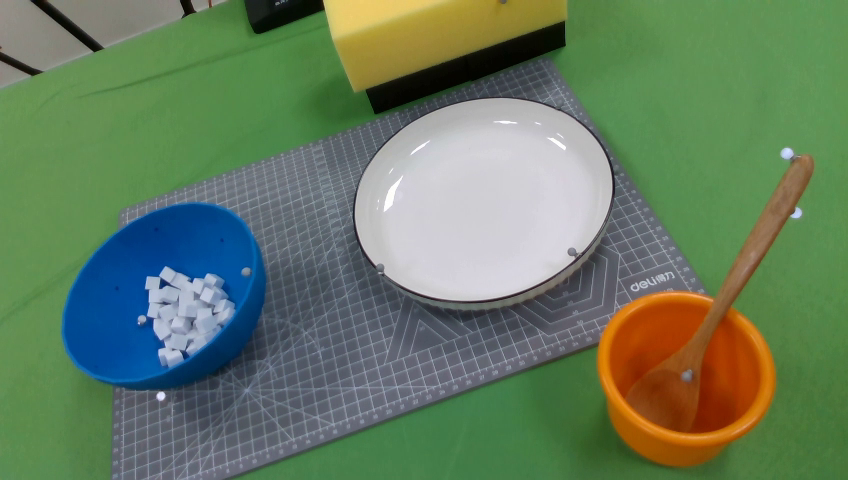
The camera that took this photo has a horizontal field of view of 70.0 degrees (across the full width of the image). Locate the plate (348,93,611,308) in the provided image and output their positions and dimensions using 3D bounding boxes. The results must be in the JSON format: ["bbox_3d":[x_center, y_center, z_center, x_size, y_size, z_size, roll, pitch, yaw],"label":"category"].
[{"bbox_3d":[0.042,-0.034,0.491,0.209,0.038,0.207,-6,56,10],"label":"plate"}]

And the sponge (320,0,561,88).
[{"bbox_3d":[0.010,-0.230,0.561,0.207,0.061,0.117,-19,54,1],"label":"sponge"}]

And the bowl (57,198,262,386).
[{"bbox_3d":[-0.185,0.050,0.465,0.151,0.077,0.150,-7,55,10],"label":"bowl"}]

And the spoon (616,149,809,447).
[{"bbox_3d":[0.165,0.039,0.347,0.041,0.194,0.022,34,26,30],"label":"spoon"}]
